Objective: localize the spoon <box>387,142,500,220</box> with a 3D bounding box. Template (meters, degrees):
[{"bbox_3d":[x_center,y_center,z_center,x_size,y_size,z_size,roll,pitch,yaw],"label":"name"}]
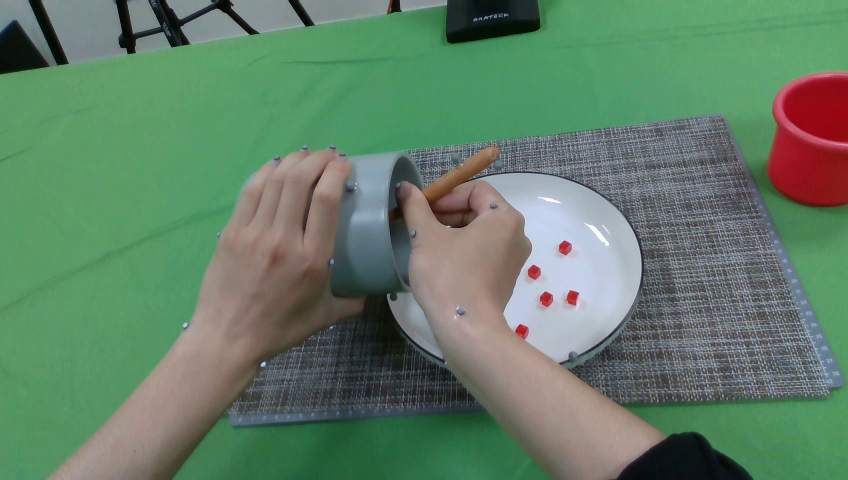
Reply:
[{"bbox_3d":[-0.025,-0.023,0.438,0.193,0.022,0.041,-25,54,28],"label":"spoon"}]

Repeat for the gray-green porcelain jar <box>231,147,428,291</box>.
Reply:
[{"bbox_3d":[-0.071,-0.013,0.461,0.126,0.107,0.105,-2,50,15],"label":"gray-green porcelain jar"}]

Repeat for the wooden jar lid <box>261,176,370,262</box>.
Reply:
[{"bbox_3d":[-0.104,-0.020,0.591,0.108,0.021,0.107,-6,48,7],"label":"wooden jar lid"}]

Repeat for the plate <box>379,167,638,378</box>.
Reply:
[{"bbox_3d":[0.067,0.024,0.500,0.207,0.039,0.205,-7,49,8],"label":"plate"}]
